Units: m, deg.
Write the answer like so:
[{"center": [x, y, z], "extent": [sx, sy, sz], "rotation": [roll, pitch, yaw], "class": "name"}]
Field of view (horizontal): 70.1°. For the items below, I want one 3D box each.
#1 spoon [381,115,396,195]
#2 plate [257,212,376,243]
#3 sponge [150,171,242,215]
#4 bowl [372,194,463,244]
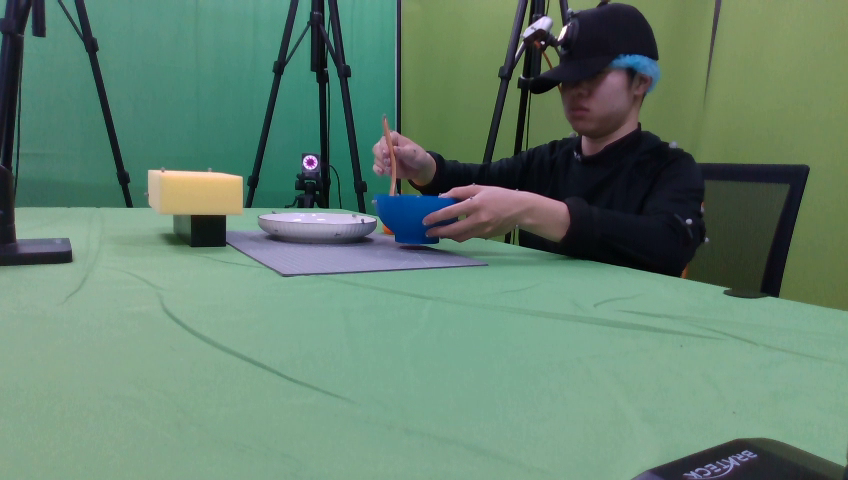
[{"center": [-0.055, -0.115, 1.011], "extent": [0.021, 0.193, 0.041], "rotation": [-5, -8, 3], "class": "spoon"}, {"center": [-0.189, -0.023, 1.072], "extent": [0.209, 0.038, 0.209], "rotation": [3, 7, 0], "class": "plate"}, {"center": [-0.379, -0.079, 0.994], "extent": [0.119, 0.061, 0.206], "rotation": [-1, 8, -29], "class": "sponge"}, {"center": [-0.013, -0.035, 0.994], "extent": [0.151, 0.077, 0.151], "rotation": [2, 5, 0], "class": "bowl"}]
